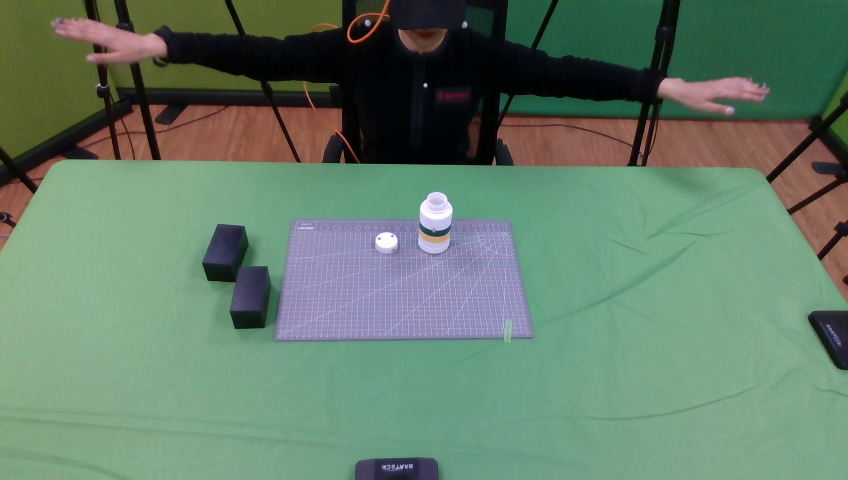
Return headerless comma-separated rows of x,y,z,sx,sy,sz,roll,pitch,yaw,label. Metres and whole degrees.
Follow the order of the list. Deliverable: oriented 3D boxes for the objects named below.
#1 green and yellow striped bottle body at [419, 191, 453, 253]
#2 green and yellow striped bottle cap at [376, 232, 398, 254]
0.023,-0.036,1.160,0.063,0.120,0.063,2,46,-2,green and yellow striped bottle body
-0.073,0.006,1.187,0.045,0.020,0.045,2,45,-2,green and yellow striped bottle cap
